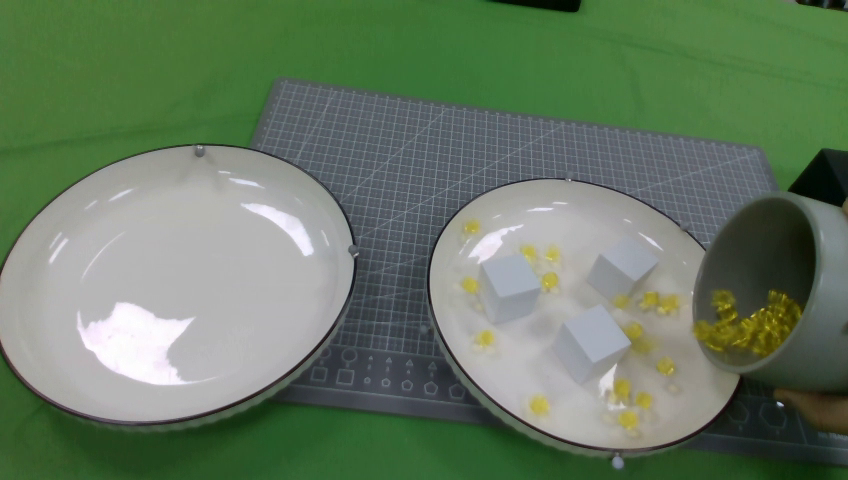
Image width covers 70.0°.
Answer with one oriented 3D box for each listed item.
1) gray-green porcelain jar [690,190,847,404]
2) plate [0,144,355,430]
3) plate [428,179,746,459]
[{"bbox_3d":[0.238,0.038,0.344,0.127,0.106,0.105,16,50,-6],"label":"gray-green porcelain jar"},{"bbox_3d":[-0.148,0.023,0.381,0.209,0.038,0.207,4,51,-4],"label":"plate"},{"bbox_3d":[0.104,0.046,0.402,0.208,0.039,0.205,4,51,-5],"label":"plate"}]
